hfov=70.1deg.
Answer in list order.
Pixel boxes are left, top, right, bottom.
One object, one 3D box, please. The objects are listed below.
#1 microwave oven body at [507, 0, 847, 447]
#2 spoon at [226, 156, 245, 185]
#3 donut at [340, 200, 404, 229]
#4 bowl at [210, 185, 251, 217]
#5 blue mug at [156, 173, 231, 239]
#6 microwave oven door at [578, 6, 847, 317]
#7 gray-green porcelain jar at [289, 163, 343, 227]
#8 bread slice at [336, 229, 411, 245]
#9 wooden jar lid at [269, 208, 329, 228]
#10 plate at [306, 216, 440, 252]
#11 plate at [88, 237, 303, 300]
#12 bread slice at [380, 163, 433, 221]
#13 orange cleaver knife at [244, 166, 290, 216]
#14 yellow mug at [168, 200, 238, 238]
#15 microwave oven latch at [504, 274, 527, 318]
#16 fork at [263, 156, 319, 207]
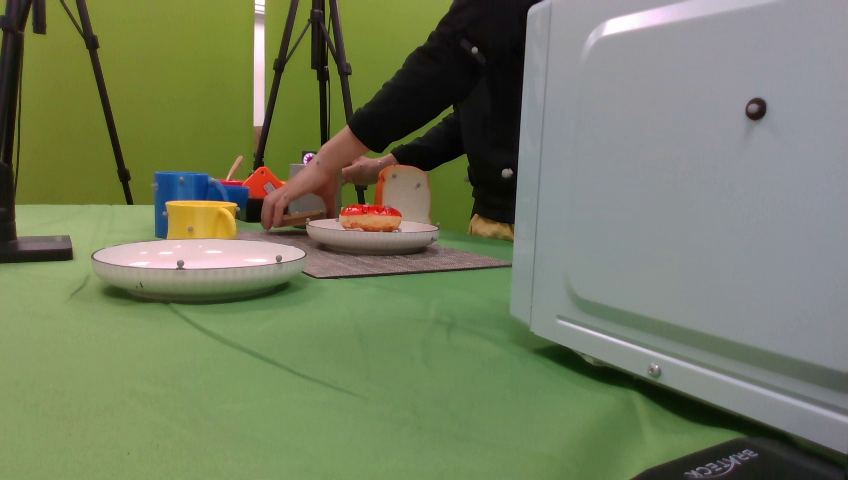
[{"bbox_3d":[0.331,-0.042,0.425,0.444,0.260,0.324,-2,8,-31],"label":"microwave oven body"},{"bbox_3d":[-0.477,-0.145,1.492,0.041,0.022,0.193,-1,51,13],"label":"spoon"},{"bbox_3d":[-0.081,-0.038,0.945,0.099,0.048,0.099,1,5,0],"label":"donut"},{"bbox_3d":[-0.408,-0.064,1.155,0.151,0.077,0.151,2,8,0],"label":"bowl"},{"bbox_3d":[-0.381,-0.057,1.004,0.117,0.106,0.082,1,8,-12],"label":"blue mug"},{"bbox_3d":[0.294,-0.067,0.570,0.358,0.243,0.039,-3,9,-31],"label":"microwave oven door"},{"bbox_3d":[-0.218,-0.091,1.220,0.106,0.126,0.106,2,7,0],"label":"gray-green porcelain jar"},{"bbox_3d":[-0.074,-0.006,0.938,0.105,0.019,0.131,-1,5,-19],"label":"bread slice"},{"bbox_3d":[-0.222,-0.039,1.081,0.108,0.020,0.108,-9,5,1],"label":"wooden jar lid"},{"bbox_3d":[-0.079,-0.011,0.950,0.209,0.038,0.209,2,8,0],"label":"plate"},{"bbox_3d":[-0.233,0.029,0.637,0.208,0.039,0.207,2,7,0],"label":"plate"},{"bbox_3d":[-0.035,-0.076,1.124,0.107,0.134,0.018,-4,1,-25],"label":"bread slice"},{"bbox_3d":[-0.301,-0.089,1.351,0.212,0.077,0.012,32,-10,-34],"label":"orange cleaver knife"},{"bbox_3d":[-0.320,-0.023,0.904,0.130,0.064,0.100,9,11,36],"label":"yellow mug"},{"bbox_3d":[0.100,0.041,0.471,0.079,0.029,0.030,-1,8,-28],"label":"microwave oven latch"},{"bbox_3d":[-0.331,-0.144,1.506,0.207,0.018,0.028,-42,-20,22],"label":"fork"}]
